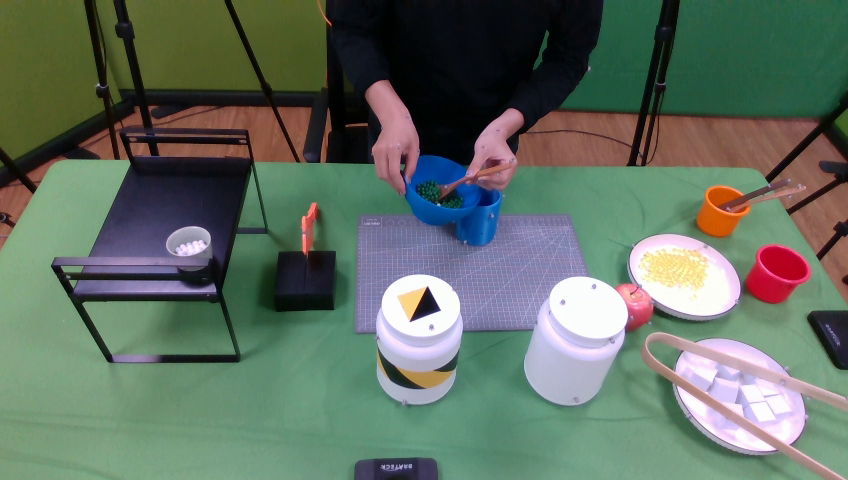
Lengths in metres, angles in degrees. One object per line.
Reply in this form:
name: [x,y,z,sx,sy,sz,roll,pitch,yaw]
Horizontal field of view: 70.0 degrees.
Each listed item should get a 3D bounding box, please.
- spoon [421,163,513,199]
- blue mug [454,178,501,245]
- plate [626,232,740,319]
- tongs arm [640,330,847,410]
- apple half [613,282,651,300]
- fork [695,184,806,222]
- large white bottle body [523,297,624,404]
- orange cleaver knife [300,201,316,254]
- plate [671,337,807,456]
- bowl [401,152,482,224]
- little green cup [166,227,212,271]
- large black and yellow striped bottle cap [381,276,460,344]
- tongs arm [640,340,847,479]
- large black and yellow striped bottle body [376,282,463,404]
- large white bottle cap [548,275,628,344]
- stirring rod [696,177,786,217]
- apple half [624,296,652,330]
spoon: [0.072,-0.107,1.078,0.193,0.022,0.041,-17,35,39]
blue mug: [0.106,-0.067,1.208,0.082,0.106,0.116,6,46,1]
plate: [0.488,0.071,1.157,0.209,0.038,0.208,3,46,-3]
tongs arm: [0.543,0.225,0.969,0.384,0.026,0.050,22,52,13]
apple half: [0.356,0.109,1.086,0.081,0.075,0.053,-14,44,-12]
fork: [0.658,-0.074,1.230,0.207,0.019,0.028,-24,33,36]
large white bottle body: [0.235,0.159,0.952,0.131,0.185,0.130,2,47,-2]
orange cleaver knife: [-0.221,-0.027,1.161,0.012,0.077,0.210,-1,15,-4]
plate: [0.504,0.254,0.984,0.208,0.039,0.206,2,46,-2]
bowl: [0.022,-0.083,1.112,0.152,0.077,0.150,12,44,-12]
little green cup: [-0.344,0.014,0.895,0.061,0.039,0.061,3,46,-3]
large black and yellow striped bottle cap: [-0.005,0.098,0.875,0.115,0.019,0.114,2,45,-2]
tongs arm: [0.500,0.277,0.919,0.386,0.028,0.028,34,59,22]
large black and yellow striped bottle body: [-0.010,0.155,0.937,0.131,0.185,0.130,2,47,-2]
large white bottle cap: [0.240,0.100,0.890,0.115,0.018,0.114,3,47,-3]
stirring rod: [0.648,-0.087,1.244,0.176,0.006,0.014,-25,50,29]
apple half: [0.368,0.135,1.060,0.081,0.081,0.032,-11,43,-15]
